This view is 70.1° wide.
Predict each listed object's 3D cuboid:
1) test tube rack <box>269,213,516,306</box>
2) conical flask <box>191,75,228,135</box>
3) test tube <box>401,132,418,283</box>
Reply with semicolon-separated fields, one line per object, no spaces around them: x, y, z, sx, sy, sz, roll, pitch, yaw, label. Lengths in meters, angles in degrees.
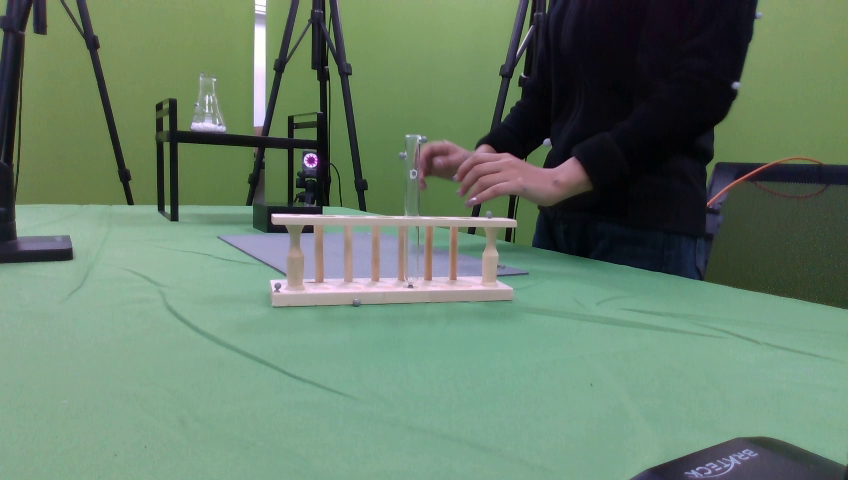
-0.032;0.015;0.617;0.243;0.085;0.066;0;8;-17;test tube rack
-0.457;-0.286;1.286;0.075;0.122;0.075;2;7;0;conical flask
-0.014;-0.031;0.596;0.017;0.150;0.017;1;11;0;test tube
